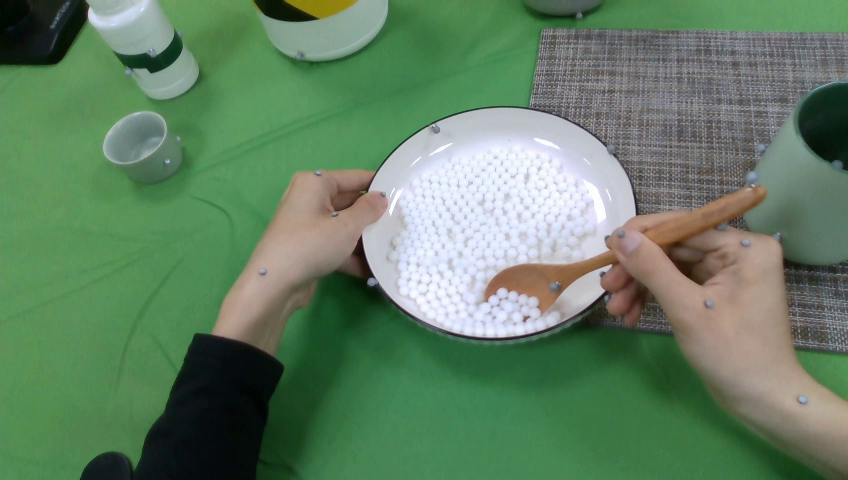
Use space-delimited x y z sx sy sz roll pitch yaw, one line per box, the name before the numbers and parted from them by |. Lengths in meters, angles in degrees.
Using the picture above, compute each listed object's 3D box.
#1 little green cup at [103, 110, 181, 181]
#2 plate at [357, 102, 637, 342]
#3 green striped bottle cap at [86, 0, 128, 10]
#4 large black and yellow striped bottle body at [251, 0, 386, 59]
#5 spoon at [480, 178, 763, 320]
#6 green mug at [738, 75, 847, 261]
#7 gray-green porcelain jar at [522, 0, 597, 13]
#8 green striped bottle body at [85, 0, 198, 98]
little green cup | -0.260 -0.086 0.565 0.061 0.039 0.061 -4 59 8
plate | 0.054 -0.016 0.468 0.209 0.038 0.207 -4 60 7
green striped bottle cap | -0.283 -0.226 0.540 0.044 0.020 0.044 -3 62 5
large black and yellow striped bottle body | -0.117 -0.279 0.563 0.130 0.186 0.129 -4 60 8
spoon | 0.114 0.009 0.384 0.193 0.022 0.041 -28 83 39
green mug | 0.285 -0.038 0.402 0.124 0.106 0.092 27 68 22
gray-green porcelain jar | 0.130 -0.287 0.560 0.106 0.127 0.105 -4 60 8
green striped bottle body | -0.275 -0.200 0.584 0.063 0.120 0.062 -4 60 8
